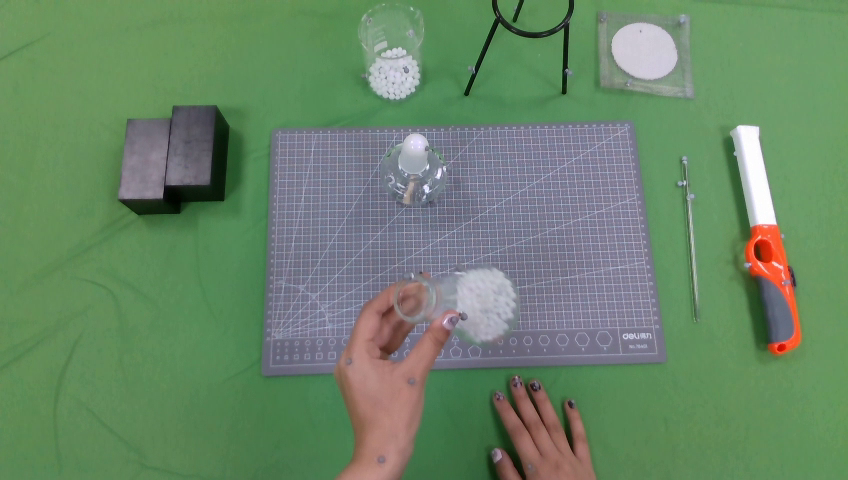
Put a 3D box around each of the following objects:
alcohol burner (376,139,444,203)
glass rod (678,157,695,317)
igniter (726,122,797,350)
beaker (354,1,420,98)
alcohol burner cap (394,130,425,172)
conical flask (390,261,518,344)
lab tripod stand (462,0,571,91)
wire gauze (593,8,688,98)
[{"bbox_3d":[-0.015,-0.086,0.677,0.078,0.119,0.077,1,73,-3],"label":"alcohol burner"},{"bbox_3d":[0.310,-0.007,0.720,0.008,0.008,0.198,3,74,0],"label":"glass rod"},{"bbox_3d":[0.395,-0.010,0.712,0.057,0.025,0.275,1,74,-12],"label":"igniter"},{"bbox_3d":[-0.040,-0.225,0.727,0.084,0.101,0.073,-42,79,-12],"label":"beaker"},{"bbox_3d":[-0.013,-0.098,0.643,0.034,0.048,0.033,3,67,-8],"label":"alcohol burner cap"},{"bbox_3d":[0.022,0.050,0.509,0.075,0.123,0.075,-6,80,33],"label":"conical flask"},{"bbox_3d":[0.112,-0.242,0.718,0.148,0.132,0.147,0,76,-1],"label":"lab tripod stand"},{"bbox_3d":[0.282,-0.247,0.788,0.125,0.011,0.121,5,75,-2],"label":"wire gauze"}]
